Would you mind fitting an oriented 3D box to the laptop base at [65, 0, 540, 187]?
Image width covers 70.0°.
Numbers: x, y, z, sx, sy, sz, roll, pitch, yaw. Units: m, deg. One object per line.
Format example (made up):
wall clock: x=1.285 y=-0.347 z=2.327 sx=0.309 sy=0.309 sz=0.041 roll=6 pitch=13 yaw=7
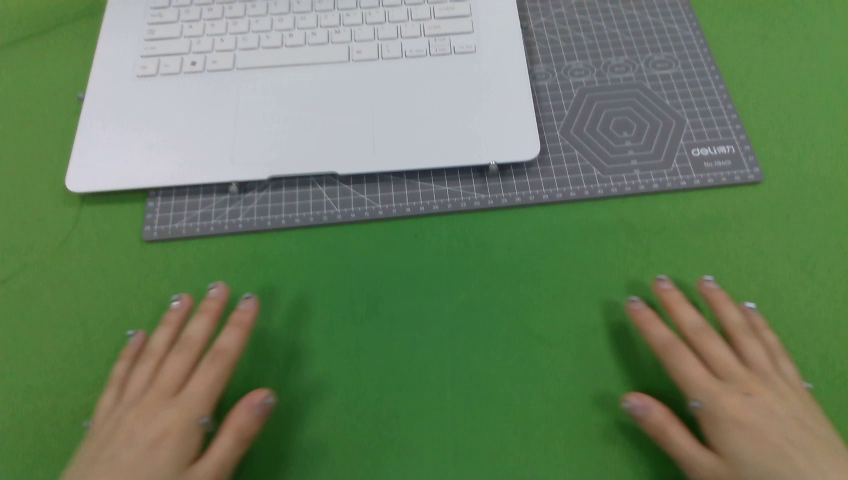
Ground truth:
laptop base: x=-0.096 y=-0.152 z=0.498 sx=0.354 sy=0.023 sz=0.233 roll=-4 pitch=66 yaw=0
